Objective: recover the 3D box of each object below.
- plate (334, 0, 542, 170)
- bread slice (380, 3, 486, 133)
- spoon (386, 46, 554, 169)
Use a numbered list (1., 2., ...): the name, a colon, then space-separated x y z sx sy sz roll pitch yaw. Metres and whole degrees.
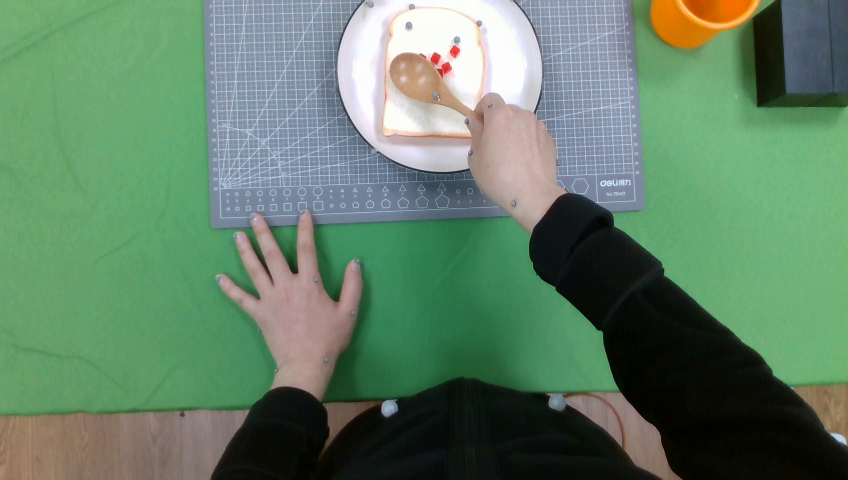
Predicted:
1. plate: 0.015 -0.172 0.617 0.209 0.038 0.209 0 87 -3
2. bread slice: 0.007 -0.173 0.618 0.107 0.018 0.134 -2 87 -4
3. spoon: 0.042 -0.123 0.572 0.192 0.022 0.041 39 92 17
